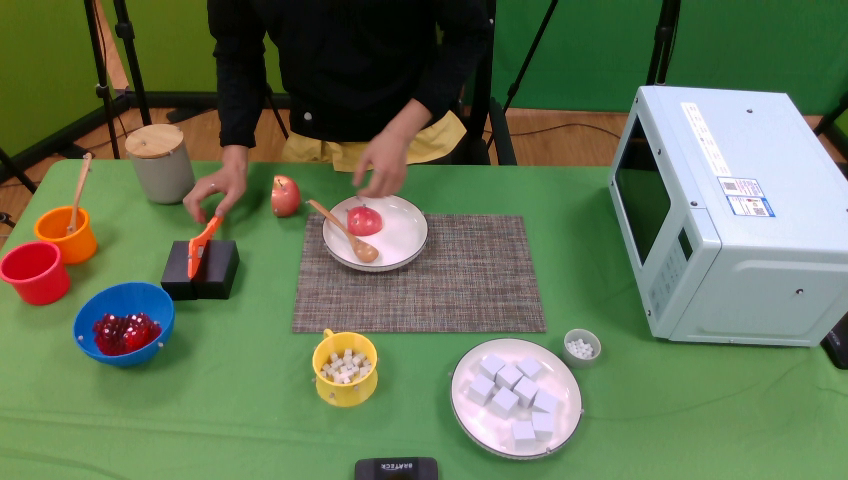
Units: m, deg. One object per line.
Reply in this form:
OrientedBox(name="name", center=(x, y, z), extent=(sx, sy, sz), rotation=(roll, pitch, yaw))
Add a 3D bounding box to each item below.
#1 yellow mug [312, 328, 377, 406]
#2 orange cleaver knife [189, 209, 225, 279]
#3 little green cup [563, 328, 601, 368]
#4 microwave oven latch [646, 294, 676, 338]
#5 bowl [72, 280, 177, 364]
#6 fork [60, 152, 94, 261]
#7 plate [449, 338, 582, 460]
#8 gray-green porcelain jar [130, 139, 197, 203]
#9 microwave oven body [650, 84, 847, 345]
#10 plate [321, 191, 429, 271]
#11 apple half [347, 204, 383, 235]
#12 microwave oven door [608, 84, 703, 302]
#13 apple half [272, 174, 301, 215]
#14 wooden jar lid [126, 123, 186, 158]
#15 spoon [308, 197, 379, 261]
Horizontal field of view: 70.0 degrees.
OrientedBox(name="yellow mug", center=(-0.133, 0.194, 0.971), extent=(0.100, 0.064, 0.130), rotation=(-22, 51, -23))
OrientedBox(name="orange cleaver knife", center=(-0.401, 0.002, 1.122), extent=(0.012, 0.077, 0.210), rotation=(4, 23, -4))
OrientedBox(name="little green cup", center=(0.265, 0.185, 1.025), extent=(0.061, 0.039, 0.061), rotation=(1, 45, -1))
OrientedBox(name="microwave oven latch", center=(0.413, 0.133, 1.061), extent=(0.030, 0.029, 0.078), rotation=(4, 46, 1))
OrientedBox(name="bowl", center=(-0.473, 0.147, 0.982), extent=(0.151, 0.077, 0.150), rotation=(2, 46, -2))
OrientedBox(name="fork", center=(-0.637, -0.063, 1.119), extent=(0.028, 0.019, 0.207), rotation=(11, 90, 16))
OrientedBox(name="plate", center=(0.141, 0.251, 0.956), extent=(0.208, 0.039, 0.206), rotation=(2, 46, -2))
OrientedBox(name="gray-green porcelain jar", center=(-0.523, -0.147, 1.225), extent=(0.106, 0.127, 0.105), rotation=(2, 47, -2))
OrientedBox(name="microwave oven body", center=(0.569, -0.054, 1.116), extent=(0.326, 0.261, 0.439), rotation=(2, 46, -1))
OrientedBox(name="plate", center=(-0.094, -0.015, 1.185), extent=(0.209, 0.038, 0.208), rotation=(2, 46, -2))
OrientedBox(name="apple half", center=(-0.118, -0.048, 1.207), extent=(0.081, 0.033, 0.081), rotation=(3, 49, -3))
OrientedBox(name="microwave oven door", center=(0.424, -0.096, 1.138), extent=(0.039, 0.245, 0.353), rotation=(2, 47, -1))
OrientedBox(name="apple half", center=(-0.276, -0.090, 1.225), extent=(0.053, 0.075, 0.080), rotation=(1, 42, -7))
OrientedBox(name="wooden jar lid", center=(-0.519, -0.190, 1.179), extent=(0.108, 0.021, 0.107), rotation=(2, 44, -2))
OrientedBox(name="spoon", center=(-0.159, -0.025, 1.172), extent=(0.041, 0.022, 0.193), rotation=(-41, 73, -19))
